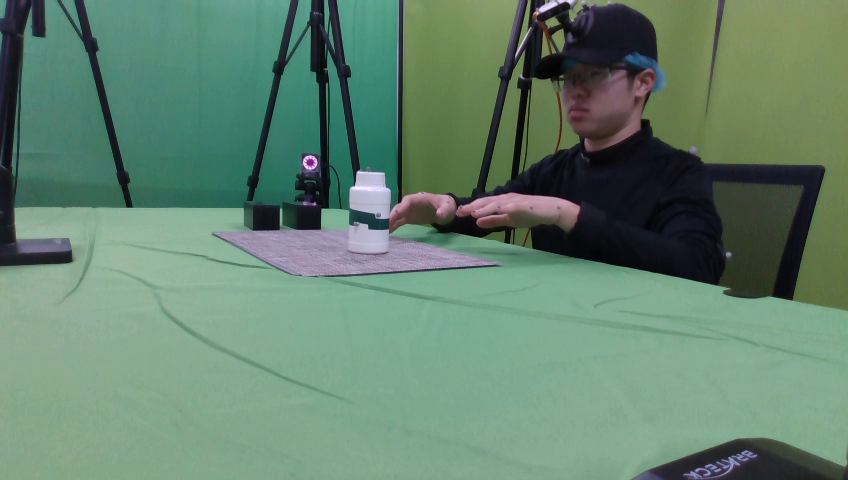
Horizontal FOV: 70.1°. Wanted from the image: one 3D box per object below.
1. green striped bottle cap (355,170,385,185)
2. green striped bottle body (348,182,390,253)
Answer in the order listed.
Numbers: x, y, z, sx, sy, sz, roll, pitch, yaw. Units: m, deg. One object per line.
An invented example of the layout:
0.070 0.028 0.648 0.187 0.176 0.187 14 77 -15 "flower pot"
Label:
-0.081 -0.094 0.907 0.044 0.020 0.044 4 8 0 "green striped bottle cap"
-0.083 -0.043 0.914 0.063 0.119 0.063 2 7 0 "green striped bottle body"
